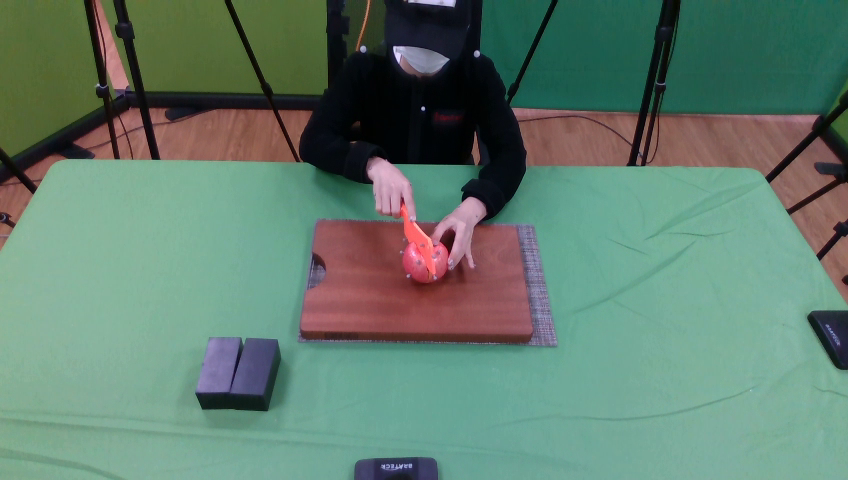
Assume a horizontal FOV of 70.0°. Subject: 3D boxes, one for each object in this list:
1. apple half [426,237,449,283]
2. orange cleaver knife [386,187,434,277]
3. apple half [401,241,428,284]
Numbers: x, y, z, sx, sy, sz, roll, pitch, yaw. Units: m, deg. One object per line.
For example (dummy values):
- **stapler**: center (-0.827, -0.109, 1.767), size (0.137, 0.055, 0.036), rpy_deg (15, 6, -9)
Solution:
- **apple half**: center (0.016, 0.035, 1.091), size (0.053, 0.075, 0.080), rpy_deg (-12, 44, -21)
- **orange cleaver knife**: center (-0.026, -0.018, 1.083), size (0.012, 0.077, 0.210), rpy_deg (-14, 43, -19)
- **apple half**: center (-0.022, 0.047, 1.077), size (0.033, 0.081, 0.080), rpy_deg (-18, 50, -17)
